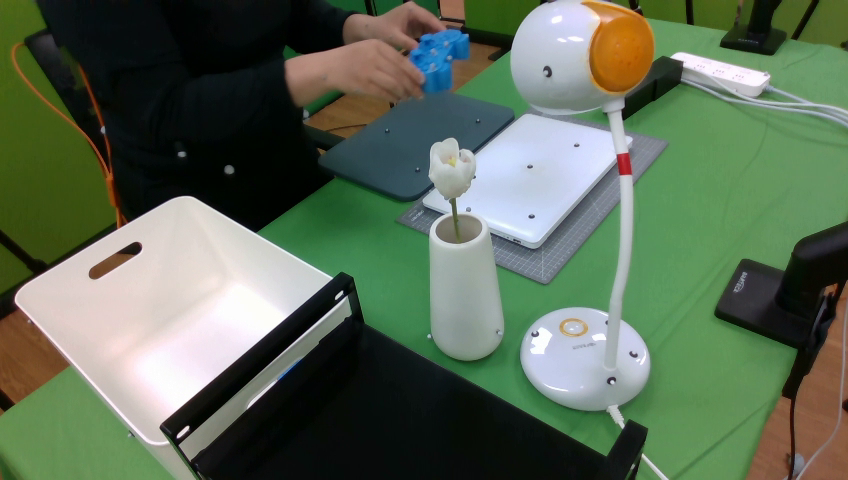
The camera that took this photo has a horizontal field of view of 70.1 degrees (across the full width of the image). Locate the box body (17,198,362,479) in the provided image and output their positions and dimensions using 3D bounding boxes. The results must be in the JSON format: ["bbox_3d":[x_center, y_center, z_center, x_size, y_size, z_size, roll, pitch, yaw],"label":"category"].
[{"bbox_3d":[-0.285,0.123,0.766,0.361,0.161,0.255,25,49,33],"label":"box body"}]

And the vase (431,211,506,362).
[{"bbox_3d":[0.054,0.062,0.757,0.098,0.201,0.097,-3,40,3],"label":"vase"}]

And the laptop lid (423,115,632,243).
[{"bbox_3d":[0.190,-0.126,1.081,0.239,0.013,0.358,23,48,34],"label":"laptop lid"}]

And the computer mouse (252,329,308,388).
[{"bbox_3d":[-0.168,0.161,0.790,0.116,0.041,0.063,31,50,27],"label":"computer mouse"}]

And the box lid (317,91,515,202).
[{"bbox_3d":[-0.009,-0.207,1.236,0.261,0.015,0.372,23,49,32],"label":"box lid"}]

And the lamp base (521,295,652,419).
[{"bbox_3d":[0.201,0.095,0.710,0.161,0.181,0.177,-16,43,-10],"label":"lamp base"}]

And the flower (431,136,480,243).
[{"bbox_3d":[0.041,0.011,0.691,0.044,0.363,0.038,16,62,14],"label":"flower"}]

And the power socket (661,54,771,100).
[{"bbox_3d":[0.615,-0.348,1.285,0.072,0.033,0.225,-36,48,-29],"label":"power socket"}]

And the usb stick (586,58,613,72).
[{"bbox_3d":[0.401,-0.399,1.380,0.059,0.027,0.021,1,48,20],"label":"usb stick"}]

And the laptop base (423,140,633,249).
[{"bbox_3d":[0.194,-0.117,1.087,0.233,0.023,0.355,21,48,34],"label":"laptop base"}]

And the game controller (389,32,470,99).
[{"bbox_3d":[0.010,-0.271,0.915,0.096,0.052,0.155,5,44,21],"label":"game controller"}]

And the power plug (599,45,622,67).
[{"bbox_3d":[0.437,-0.422,1.412,0.053,0.035,0.072,-19,74,-47],"label":"power plug"}]

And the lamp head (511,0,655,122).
[{"bbox_3d":[0.155,-0.168,0.563,0.113,0.113,0.122,-18,23,-12],"label":"lamp head"}]
